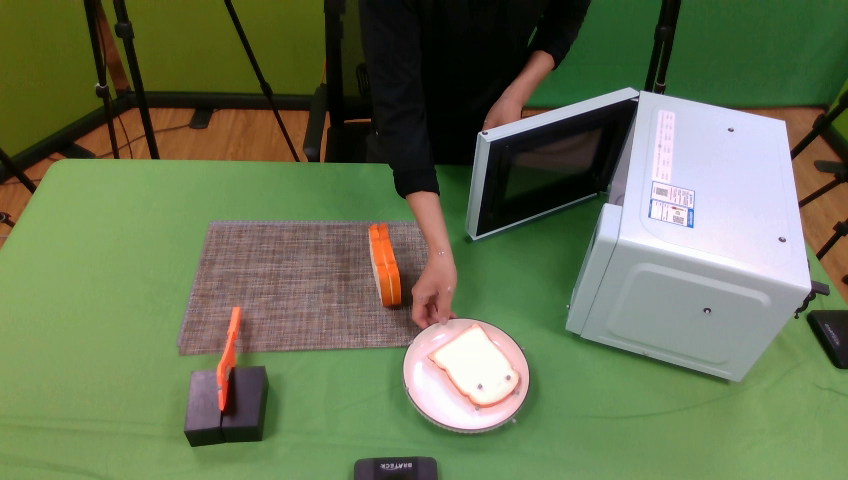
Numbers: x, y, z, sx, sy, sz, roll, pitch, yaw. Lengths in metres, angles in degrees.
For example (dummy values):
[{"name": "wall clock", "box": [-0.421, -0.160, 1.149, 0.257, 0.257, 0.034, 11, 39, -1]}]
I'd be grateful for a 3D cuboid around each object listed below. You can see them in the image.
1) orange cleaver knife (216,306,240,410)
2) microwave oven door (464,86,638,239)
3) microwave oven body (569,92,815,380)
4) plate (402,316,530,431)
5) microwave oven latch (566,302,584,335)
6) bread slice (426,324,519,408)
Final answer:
[{"name": "orange cleaver knife", "box": [-0.307, 0.180, 0.957, 0.012, 0.077, 0.210, -2, 25, -8]}, {"name": "microwave oven door", "box": [0.248, -0.151, 1.184, 0.356, 0.245, 0.039, -20, 51, -22]}, {"name": "microwave oven body", "box": [0.468, -0.022, 1.082, 0.325, 0.261, 0.440, 15, 46, 11]}, {"name": "plate", "box": [0.066, 0.217, 0.982, 0.208, 0.039, 0.206, 2, 46, -2]}, {"name": "microwave oven latch", "box": [0.268, 0.126, 1.059, 0.030, 0.029, 0.079, 16, 46, 12]}, {"name": "bread slice", "box": [0.087, 0.209, 0.989, 0.107, 0.018, 0.133, -32, 57, -26]}]
